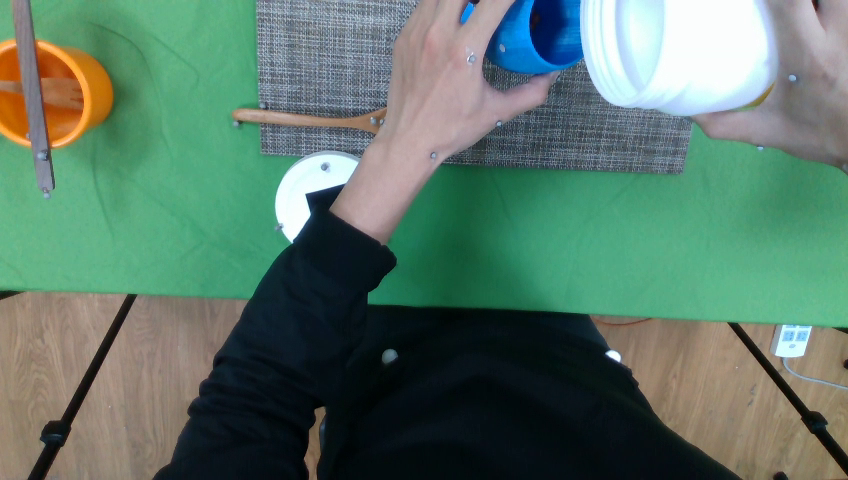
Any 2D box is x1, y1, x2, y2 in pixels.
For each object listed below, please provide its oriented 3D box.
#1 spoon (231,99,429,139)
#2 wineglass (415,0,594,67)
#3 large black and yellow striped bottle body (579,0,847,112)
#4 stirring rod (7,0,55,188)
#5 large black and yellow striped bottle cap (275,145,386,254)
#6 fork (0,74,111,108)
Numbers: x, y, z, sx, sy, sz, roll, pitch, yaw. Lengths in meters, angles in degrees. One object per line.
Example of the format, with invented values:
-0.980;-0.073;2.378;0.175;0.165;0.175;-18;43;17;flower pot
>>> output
-0.092;-0.122;0.596;0.194;0.021;0.042;1;129;-6;spoon
0.057;-0.177;0.490;0.074;0.170;0.074;-8;108;-24;wineglass
0.208;-0.156;0.394;0.184;0.129;0.131;-10;110;-10;large black and yellow striped bottle body
-0.326;-0.129;0.502;0.014;0.006;0.177;1;109;-6;stirring rod
-0.097;-0.040;0.630;0.115;0.018;0.115;-2;113;-6;large black and yellow striped bottle cap
-0.369;-0.134;0.499;0.208;0.018;0.028;-3;123;-51;fork
